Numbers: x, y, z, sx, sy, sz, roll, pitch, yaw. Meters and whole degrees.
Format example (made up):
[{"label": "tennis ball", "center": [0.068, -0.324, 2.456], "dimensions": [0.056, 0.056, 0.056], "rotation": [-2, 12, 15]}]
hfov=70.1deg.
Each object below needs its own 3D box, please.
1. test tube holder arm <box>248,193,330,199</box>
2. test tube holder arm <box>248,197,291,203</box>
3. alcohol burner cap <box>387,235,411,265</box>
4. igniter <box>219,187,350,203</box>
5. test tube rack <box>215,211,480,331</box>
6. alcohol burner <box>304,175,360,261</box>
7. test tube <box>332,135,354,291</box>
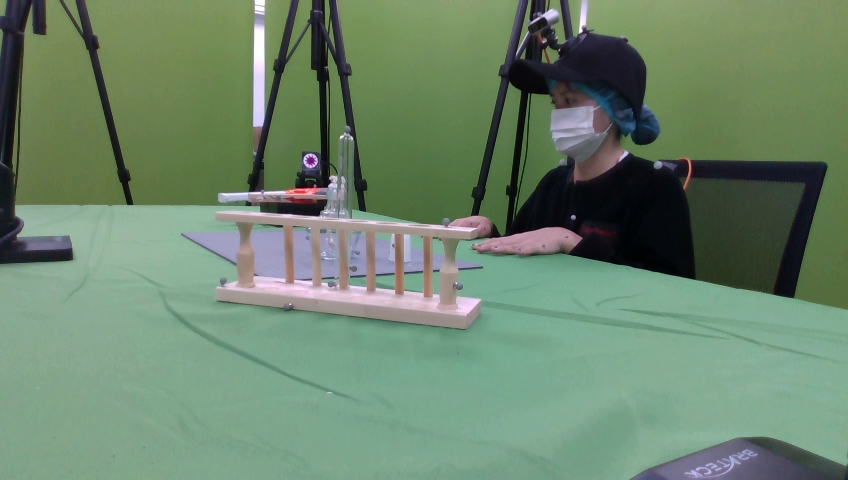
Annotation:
[{"label": "test tube holder arm", "center": [-0.268, -0.089, 1.218], "dimensions": [0.179, 0.013, 0.015], "rotation": [-6, 17, -40]}, {"label": "test tube holder arm", "center": [-0.303, -0.080, 1.191], "dimensions": [0.088, 0.010, 0.015], "rotation": [-7, 17, -40]}, {"label": "alcohol burner cap", "center": [-0.035, 0.009, 0.839], "dimensions": [0.034, 0.048, 0.034], "rotation": [2, 6, 0]}, {"label": "igniter", "center": [-0.285, -0.095, 1.268], "dimensions": [0.278, 0.025, 0.057], "rotation": [-6, 11, -34]}, {"label": "test tube rack", "center": [-0.071, 0.023, 0.565], "dimensions": [0.242, 0.085, 0.067], "rotation": [5, 7, 16]}, {"label": "alcohol burner", "center": [-0.126, -0.031, 0.838], "dimensions": [0.078, 0.119, 0.078], "rotation": [3, 5, 0]}, {"label": "test tube", "center": [-0.078, -0.025, 0.581], "dimensions": [0.017, 0.150, 0.017], "rotation": [3, 7, 0]}]
